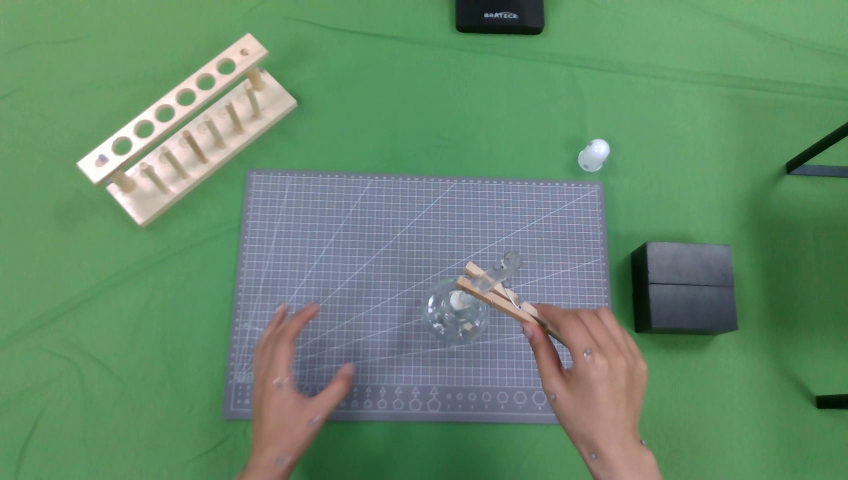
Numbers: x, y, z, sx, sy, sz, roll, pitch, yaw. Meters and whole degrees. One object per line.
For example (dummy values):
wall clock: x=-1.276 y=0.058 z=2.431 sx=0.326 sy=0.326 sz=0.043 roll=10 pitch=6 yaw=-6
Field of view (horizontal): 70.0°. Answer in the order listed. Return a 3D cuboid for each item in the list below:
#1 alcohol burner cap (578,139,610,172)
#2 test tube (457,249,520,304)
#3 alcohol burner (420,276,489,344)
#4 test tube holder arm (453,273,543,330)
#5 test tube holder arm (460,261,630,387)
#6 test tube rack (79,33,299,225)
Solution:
alcohol burner cap: x=0.217 y=-0.109 z=0.767 sx=0.034 sy=0.048 sz=0.033 roll=1 pitch=74 yaw=-3
test tube: x=0.052 y=0.035 z=0.521 sx=0.017 sy=0.150 sz=0.017 roll=3 pitch=73 yaw=-10
alcohol burner: x=0.035 y=0.073 z=0.666 sx=0.078 sy=0.119 sz=0.077 roll=1 pitch=73 yaw=-4
test tube holder arm: x=0.066 y=0.055 z=0.534 sx=0.088 sy=0.015 sz=0.010 roll=28 pitch=73 yaw=-1
test tube holder arm: x=0.107 y=0.074 z=0.536 sx=0.178 sy=0.015 sz=0.013 roll=35 pitch=74 yaw=1
test tube rack: x=-0.269 y=-0.130 z=0.720 sx=0.242 sy=0.085 sz=0.066 roll=-42 pitch=80 yaw=-13
